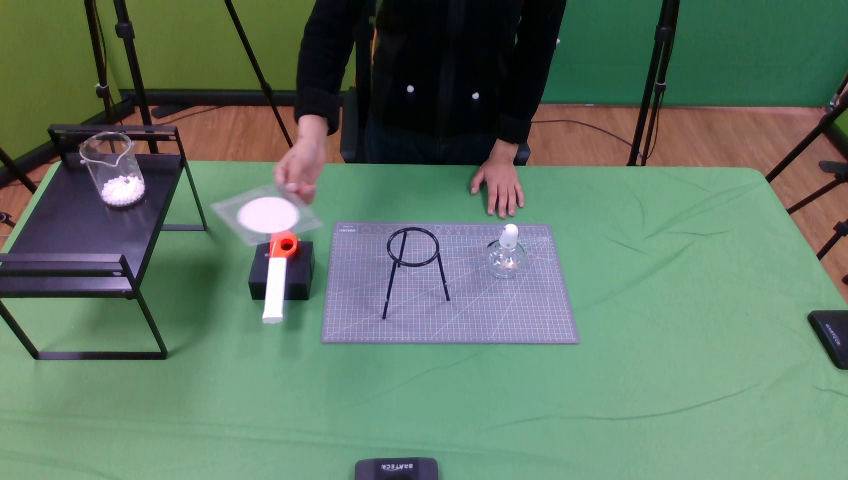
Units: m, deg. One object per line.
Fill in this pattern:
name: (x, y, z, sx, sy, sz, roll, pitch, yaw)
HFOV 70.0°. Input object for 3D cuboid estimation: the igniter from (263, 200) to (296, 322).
igniter: (-0.260, 0.027, 1.083, 0.057, 0.025, 0.274, 0, 49, -8)

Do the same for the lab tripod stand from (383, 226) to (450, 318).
lab tripod stand: (-0.023, 0.055, 1.063, 0.148, 0.132, 0.147, 2, 48, -2)

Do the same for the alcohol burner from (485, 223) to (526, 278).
alcohol burner: (0.154, 0.014, 1.129, 0.078, 0.119, 0.077, 2, 44, -2)

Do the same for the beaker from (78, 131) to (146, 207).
beaker: (-0.488, -0.108, 0.961, 0.074, 0.101, 0.083, -25, 54, -25)

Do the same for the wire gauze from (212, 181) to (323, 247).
wire gauze: (-0.238, -0.041, 0.925, 0.125, 0.011, 0.121, -24, 51, -33)

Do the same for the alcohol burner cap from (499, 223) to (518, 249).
alcohol burner cap: (0.156, -0.010, 1.102, 0.034, 0.048, 0.033, 1, 53, -2)
